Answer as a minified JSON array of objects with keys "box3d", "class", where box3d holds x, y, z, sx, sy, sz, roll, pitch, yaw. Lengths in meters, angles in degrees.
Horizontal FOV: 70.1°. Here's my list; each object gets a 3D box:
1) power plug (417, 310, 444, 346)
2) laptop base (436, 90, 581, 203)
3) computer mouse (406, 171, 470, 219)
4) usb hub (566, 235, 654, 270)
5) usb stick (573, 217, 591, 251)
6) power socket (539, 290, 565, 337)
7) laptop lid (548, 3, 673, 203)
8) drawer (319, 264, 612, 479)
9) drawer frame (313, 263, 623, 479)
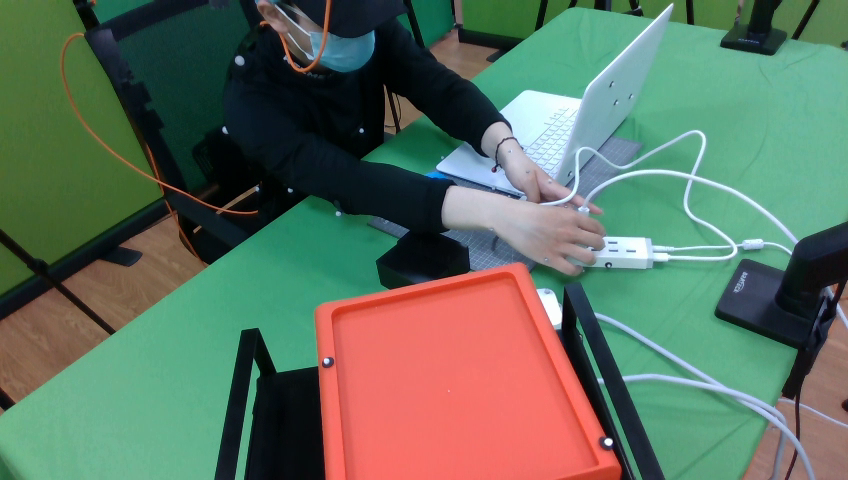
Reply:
[{"box3d":[0.007,0.123,0.785,0.035,0.053,0.072,0,39,7],"class":"power plug"},{"box3d":[0.214,-0.192,1.172,0.233,0.023,0.355,19,46,32],"class":"laptop base"},{"box3d":[0.024,-0.082,1.049,0.063,0.041,0.116,-29,50,-28],"class":"computer mouse"},{"box3d":[0.277,0.018,0.909,0.125,0.025,0.049,3,42,9],"class":"usb hub"},{"box3d":[0.234,-0.002,0.893,0.021,0.059,0.027,-8,29,10],"class":"usb stick"},{"box3d":[0.081,0.112,0.822,0.227,0.033,0.072,-7,41,0],"class":"power socket"},{"box3d":[0.320,-0.235,1.026,0.013,0.242,0.357,31,50,20],"class":"laptop lid"},{"box3d":[0.020,0.129,0.497,0.195,0.073,0.210,-11,41,-5],"class":"drawer"},{"box3d":[0.021,0.130,0.493,0.202,0.083,0.212,-11,41,-6],"class":"drawer frame"}]
